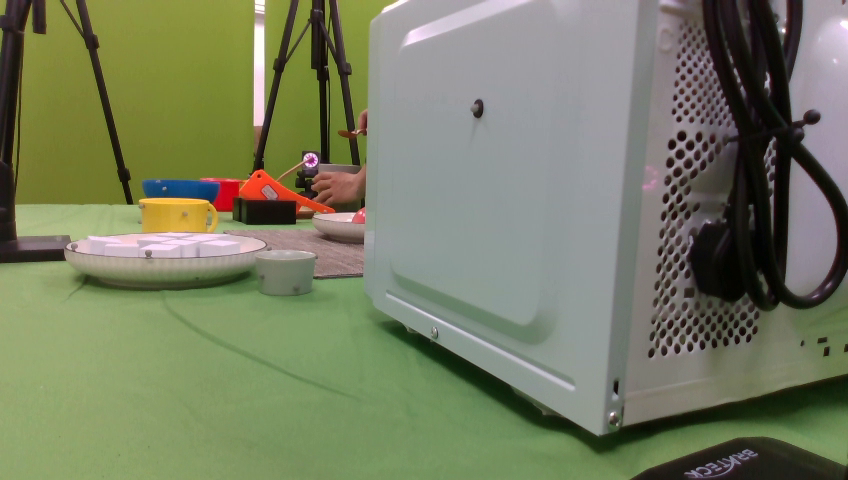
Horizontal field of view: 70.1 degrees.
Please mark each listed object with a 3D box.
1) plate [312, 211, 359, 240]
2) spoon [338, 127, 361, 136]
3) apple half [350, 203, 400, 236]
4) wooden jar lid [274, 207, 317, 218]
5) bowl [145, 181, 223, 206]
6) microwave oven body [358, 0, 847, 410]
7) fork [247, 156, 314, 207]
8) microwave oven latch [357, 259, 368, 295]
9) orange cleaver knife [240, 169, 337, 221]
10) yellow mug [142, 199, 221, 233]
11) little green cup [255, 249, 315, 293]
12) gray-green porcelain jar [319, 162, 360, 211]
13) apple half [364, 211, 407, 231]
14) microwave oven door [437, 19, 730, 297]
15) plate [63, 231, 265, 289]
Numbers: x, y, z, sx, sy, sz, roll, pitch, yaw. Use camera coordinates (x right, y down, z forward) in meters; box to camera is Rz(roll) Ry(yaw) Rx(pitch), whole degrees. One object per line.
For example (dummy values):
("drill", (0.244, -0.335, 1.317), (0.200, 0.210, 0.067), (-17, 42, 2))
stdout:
("plate", (-0.091, -0.026, 1.063), (0.209, 0.038, 0.209), (2, 7, 0))
("spoon", (-0.147, -0.272, 1.487), (0.041, 0.021, 0.194), (4, 16, 28))
("apple half", (-0.081, -0.036, 1.024), (0.081, 0.053, 0.074), (-2, 11, -34))
("wooden jar lid", (-0.303, -0.065, 1.409), (0.108, 0.020, 0.108), (3, 9, 0))
("bowl", (-0.499, -0.081, 1.261), (0.151, 0.077, 0.151), (2, 8, 0))
("microwave oven body", (0.210, -0.051, 0.471), (0.444, 0.260, 0.324), (-1, 7, -28))
("fork", (-0.360, -0.147, 1.522), (0.207, 0.018, 0.028), (-43, 14, -7))
("microwave oven latch", (-0.019, 0.031, 0.530), (0.079, 0.029, 0.030), (-1, 7, -27))
("orange cleaver knife", (-0.287, -0.081, 1.298), (0.212, 0.077, 0.012), (25, -2, -31))
("yellow mug", (-0.372, -0.030, 0.948), (0.099, 0.064, 0.131), (6, 7, 30))
("little green cup", (-0.144, 0.032, 0.627), (0.061, 0.038, 0.061), (2, 5, 0))
("gray-green porcelain jar", (-0.204, -0.126, 1.489), (0.106, 0.126, 0.106), (2, 7, 0))
("apple half", (-0.068, -0.037, 1.104), (0.081, 0.033, 0.081), (-1, 9, 0))
("microwave oven door", (0.180, -0.076, 0.618), (0.358, 0.243, 0.039), (-2, 9, -28))
("plate", (-0.288, 0.021, 0.687), (0.208, 0.039, 0.207), (2, 8, 0))
